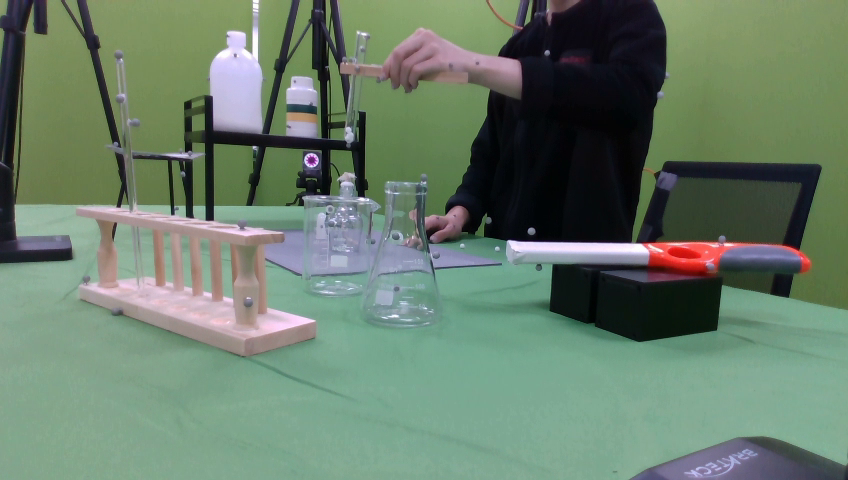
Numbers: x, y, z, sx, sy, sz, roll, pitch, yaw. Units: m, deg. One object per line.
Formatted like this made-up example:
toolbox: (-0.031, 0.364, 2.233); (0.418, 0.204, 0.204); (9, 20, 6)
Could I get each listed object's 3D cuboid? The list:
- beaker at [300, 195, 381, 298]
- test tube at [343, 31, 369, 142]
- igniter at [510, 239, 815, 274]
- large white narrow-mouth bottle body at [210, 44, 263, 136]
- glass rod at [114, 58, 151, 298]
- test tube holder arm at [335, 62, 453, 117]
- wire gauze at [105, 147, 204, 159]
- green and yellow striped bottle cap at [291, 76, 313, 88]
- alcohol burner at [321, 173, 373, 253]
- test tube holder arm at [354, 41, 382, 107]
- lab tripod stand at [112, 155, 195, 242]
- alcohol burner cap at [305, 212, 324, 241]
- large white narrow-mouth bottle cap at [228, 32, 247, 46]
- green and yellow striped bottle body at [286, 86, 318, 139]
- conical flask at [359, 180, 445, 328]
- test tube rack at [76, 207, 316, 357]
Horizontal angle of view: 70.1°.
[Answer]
beaker: (-0.087, 0.006, 0.626); (0.084, 0.100, 0.074); (1, 8, -17)
test tube: (-0.094, -0.207, 0.823); (0.017, 0.150, 0.017); (10, 22, -4)
igniter: (0.220, 0.015, 0.565); (0.277, 0.025, 0.057); (2, 16, -1)
large white narrow-mouth bottle body: (-0.369, -0.305, 1.194); (0.102, 0.194, 0.102); (3, 8, 0)
glass rod: (-0.236, -0.044, 0.493); (0.008, 0.199, 0.008); (1, 16, 0)
test tube holder arm: (-0.037, -0.203, 0.824); (0.179, 0.013, 0.015); (15, 0, -27)
wire gauze: (-0.407, -0.131, 0.928); (0.125, 0.011, 0.121); (2, 6, -11)
green and yellow striped bottle cap: (-0.250, -0.321, 1.237); (0.045, 0.020, 0.045); (4, 5, 0)
alcohol burner: (-0.115, -0.041, 0.905); (0.078, 0.119, 0.078); (1, 6, 0)
test tube holder arm: (-0.071, -0.220, 0.804); (0.010, 0.088, 0.015); (-28, 20, -17)
lab tripod stand: (-0.405, -0.064, 0.931); (0.148, 0.131, 0.148); (1, 6, 0)
alcohol burner cap: (-0.185, -0.023, 1.027); (0.034, 0.048, 0.034); (2, 6, 0)
large white narrow-mouth bottle cap: (-0.364, -0.391, 1.180); (0.038, 0.024, 0.037); (4, 8, 0)
green and yellow striped bottle body: (-0.251, -0.270, 1.245); (0.063, 0.119, 0.063); (2, 7, 0)
conical flask: (-0.017, 0.010, 0.522); (0.075, 0.122, 0.075); (2, 7, 0)
test tube rack: (-0.196, 0.023, 0.500); (0.241, 0.085, 0.067); (8, 9, 36)
